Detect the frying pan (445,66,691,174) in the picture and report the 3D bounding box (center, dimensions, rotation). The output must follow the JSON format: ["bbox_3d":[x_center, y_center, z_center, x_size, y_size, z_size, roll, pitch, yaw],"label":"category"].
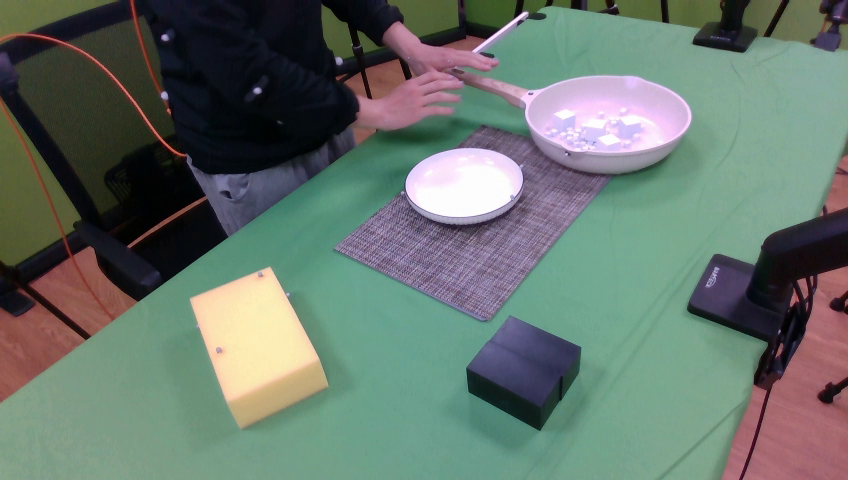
[{"bbox_3d":[0.250,-0.258,1.165,0.485,0.103,0.307,27,48,22],"label":"frying pan"}]

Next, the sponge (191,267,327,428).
[{"bbox_3d":[-0.226,0.135,0.814,0.119,0.061,0.205,-23,43,-19],"label":"sponge"}]

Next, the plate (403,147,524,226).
[{"bbox_3d":[0.069,-0.089,1.044,0.207,0.039,0.206,-4,40,4],"label":"plate"}]
